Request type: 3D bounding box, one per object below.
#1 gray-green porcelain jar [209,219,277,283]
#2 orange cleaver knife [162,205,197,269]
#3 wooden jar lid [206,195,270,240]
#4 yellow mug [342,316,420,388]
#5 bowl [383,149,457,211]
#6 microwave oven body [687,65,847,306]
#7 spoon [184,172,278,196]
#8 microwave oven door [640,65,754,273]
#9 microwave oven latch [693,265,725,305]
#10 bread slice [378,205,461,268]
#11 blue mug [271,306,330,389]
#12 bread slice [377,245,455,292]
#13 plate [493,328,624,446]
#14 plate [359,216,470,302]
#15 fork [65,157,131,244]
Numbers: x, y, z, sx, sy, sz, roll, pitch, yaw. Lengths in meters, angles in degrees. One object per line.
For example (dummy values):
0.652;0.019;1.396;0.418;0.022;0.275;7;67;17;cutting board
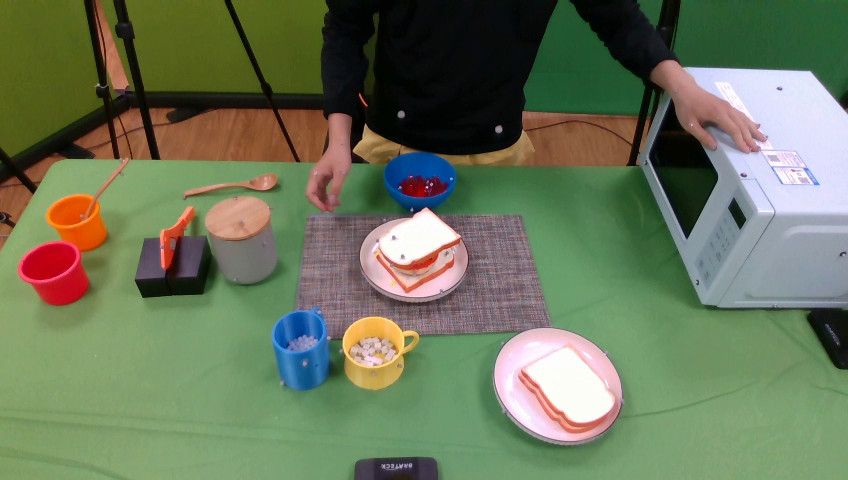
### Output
-0.323;0.007;1.092;0.106;0.127;0.105;2;46;-2;gray-green porcelain jar
-0.454;-0.010;1.129;0.012;0.077;0.210;-1;20;-5;orange cleaver knife
-0.319;-0.036;1.046;0.108;0.021;0.107;1;44;0;wooden jar lid
-0.068;0.177;0.990;0.131;0.064;0.099;-16;50;-19;yellow mug
-0.009;-0.112;1.262;0.151;0.077;0.150;2;46;-2;bowl
0.669;-0.111;1.176;0.326;0.261;0.439;0;46;-3;microwave oven body
-0.406;-0.116;1.275;0.194;0.022;0.041;-8;65;-12;spoon
0.523;-0.147;1.193;0.039;0.245;0.353;0;47;-3;microwave oven door
0.523;0.082;1.116;0.030;0.029;0.078;2;46;-1;microwave oven latch
-0.013;-0.002;1.097;0.134;0.018;0.106;-34;50;-22;bread slice
-0.188;0.163;0.969;0.082;0.106;0.116;15;47;10;blue mug
-0.009;0.033;1.148;0.131;0.019;0.104;-28;55;-25;bread slice
0.213;0.236;0.974;0.208;0.039;0.206;2;46;-2;plate
-0.019;0.038;1.140;0.209;0.038;0.208;2;46;-2;plate
-0.609;-0.074;1.132;0.207;0.019;0.028;-51;50;10;fork
